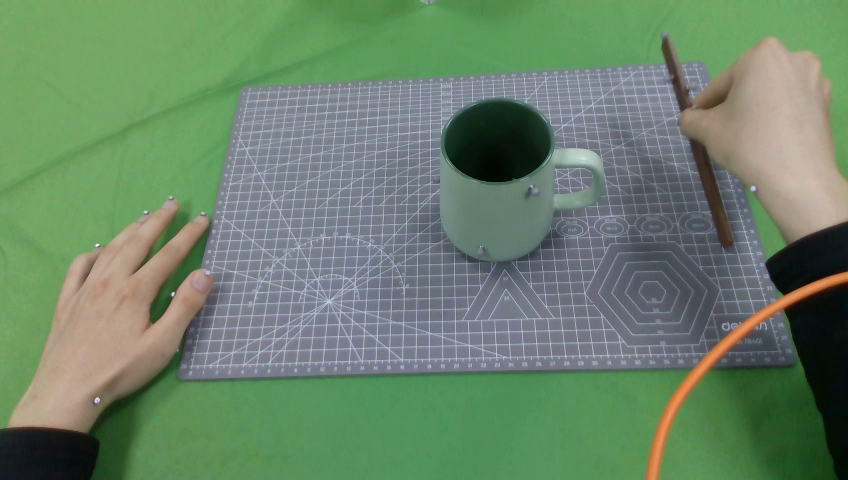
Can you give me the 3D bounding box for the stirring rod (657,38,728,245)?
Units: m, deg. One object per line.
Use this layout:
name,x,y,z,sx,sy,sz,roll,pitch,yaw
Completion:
stirring rod,0.214,-0.081,0.485,0.006,0.014,0.175,-10,80,-10

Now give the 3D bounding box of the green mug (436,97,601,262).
green mug,0.070,-0.044,0.458,0.125,0.106,0.091,-1,60,5
